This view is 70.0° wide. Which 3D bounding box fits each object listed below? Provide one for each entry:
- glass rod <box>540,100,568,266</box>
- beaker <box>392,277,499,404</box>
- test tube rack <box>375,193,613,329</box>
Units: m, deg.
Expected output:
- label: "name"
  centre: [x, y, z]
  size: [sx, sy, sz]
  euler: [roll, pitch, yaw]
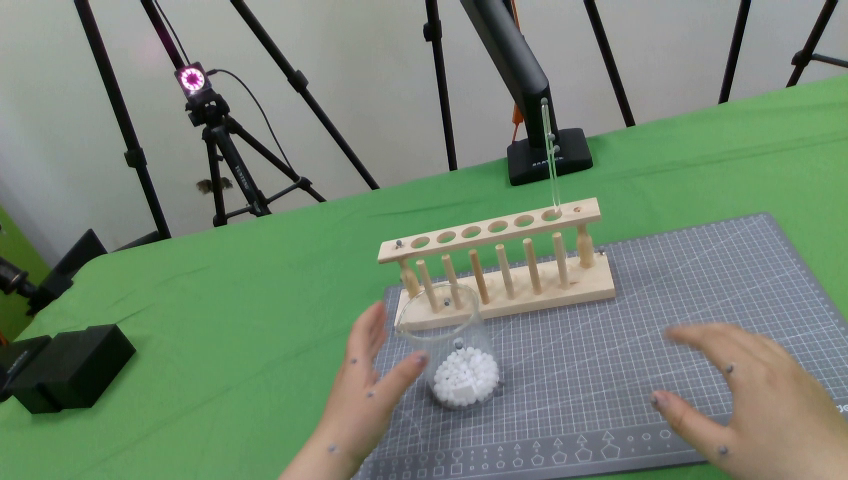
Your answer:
- label: "glass rod"
  centre: [0.133, -0.049, 0.613]
  size: [0.008, 0.202, 0.008]
  euler: [-11, 36, 9]
- label: "beaker"
  centre: [0.024, 0.098, 0.565]
  size: [0.084, 0.101, 0.073]
  euler: [-23, 32, -2]
- label: "test tube rack"
  centre: [0.073, 0.026, 0.660]
  size: [0.242, 0.086, 0.066]
  euler: [-12, 33, 14]
